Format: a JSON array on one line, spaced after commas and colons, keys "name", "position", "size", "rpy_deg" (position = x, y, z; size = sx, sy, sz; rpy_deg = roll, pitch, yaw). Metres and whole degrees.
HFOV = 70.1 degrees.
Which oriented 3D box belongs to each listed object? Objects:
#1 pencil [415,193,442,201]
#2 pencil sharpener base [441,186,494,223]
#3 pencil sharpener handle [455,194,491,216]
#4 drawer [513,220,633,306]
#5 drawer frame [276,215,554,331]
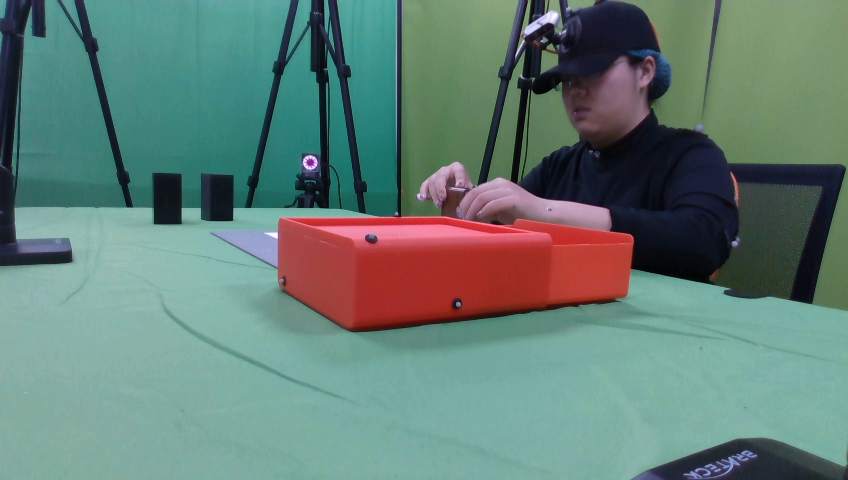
[{"name": "pencil", "position": [0.034, -0.071, 1.058], "size": [0.012, 0.012, 0.193], "rpy_deg": [-1, 8, -30]}, {"name": "pencil sharpener base", "position": [0.070, -0.032, 0.990], "size": [0.061, 0.107, 0.076], "rpy_deg": [-1, 9, -29]}, {"name": "pencil sharpener handle", "position": [0.083, -0.050, 0.935], "size": [0.068, 0.036, 0.030], "rpy_deg": [-14, 15, -27]}, {"name": "drawer", "position": [0.085, 0.022, 0.674], "size": [0.213, 0.073, 0.193], "rpy_deg": [-3, 9, -32]}, {"name": "drawer frame", "position": [-0.015, 0.022, 0.610], "size": [0.215, 0.082, 0.200], "rpy_deg": [-3, 9, -32]}]
